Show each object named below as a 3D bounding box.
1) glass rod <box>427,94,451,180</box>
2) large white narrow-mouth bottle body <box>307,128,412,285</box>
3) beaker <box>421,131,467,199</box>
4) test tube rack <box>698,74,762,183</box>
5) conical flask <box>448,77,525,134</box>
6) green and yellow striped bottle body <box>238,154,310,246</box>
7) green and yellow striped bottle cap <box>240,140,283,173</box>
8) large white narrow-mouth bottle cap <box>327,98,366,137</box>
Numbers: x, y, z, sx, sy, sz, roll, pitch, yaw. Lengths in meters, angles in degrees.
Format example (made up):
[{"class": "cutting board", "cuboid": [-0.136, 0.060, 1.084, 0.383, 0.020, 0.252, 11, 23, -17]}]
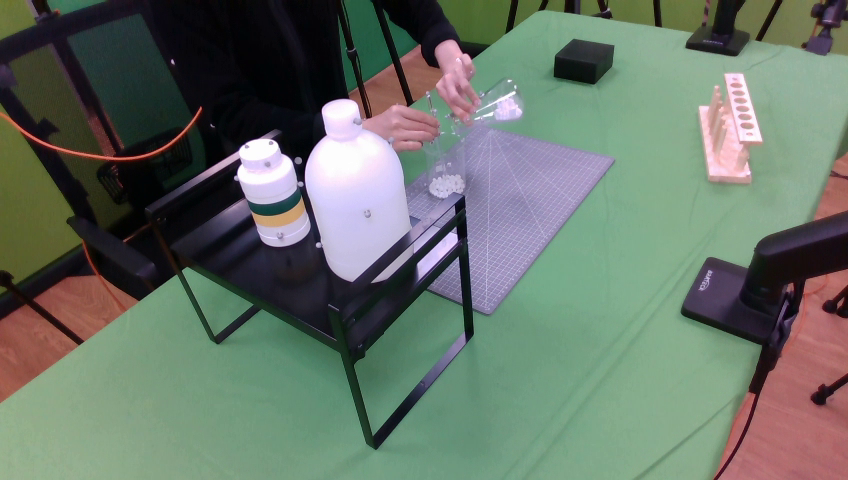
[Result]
[{"class": "glass rod", "cuboid": [0.027, -0.169, 1.023, 0.008, 0.201, 0.008, -7, 53, 9]}, {"class": "large white narrow-mouth bottle body", "cuboid": [-0.070, -0.051, 0.638, 0.102, 0.195, 0.101, -3, 40, 3]}, {"class": "beaker", "cuboid": [0.040, -0.130, 1.060, 0.084, 0.100, 0.073, -24, 43, -20]}, {"class": "test tube rack", "cuboid": [0.547, -0.208, 1.094, 0.066, 0.085, 0.242, 5, 42, 15]}, {"class": "conical flask", "cuboid": [0.103, -0.220, 1.021, 0.122, 0.076, 0.074, -25, 43, -7]}, {"class": "green and yellow striped bottle body", "cuboid": [-0.178, -0.056, 0.714, 0.063, 0.120, 0.063, -4, 40, 4]}, {"class": "green and yellow striped bottle cap", "cuboid": [-0.183, -0.094, 0.679, 0.045, 0.020, 0.045, -4, 38, 4]}, {"class": "large white narrow-mouth bottle cap", "cuboid": [-0.075, -0.118, 0.582, 0.038, 0.024, 0.037, -3, 40, 3]}]
